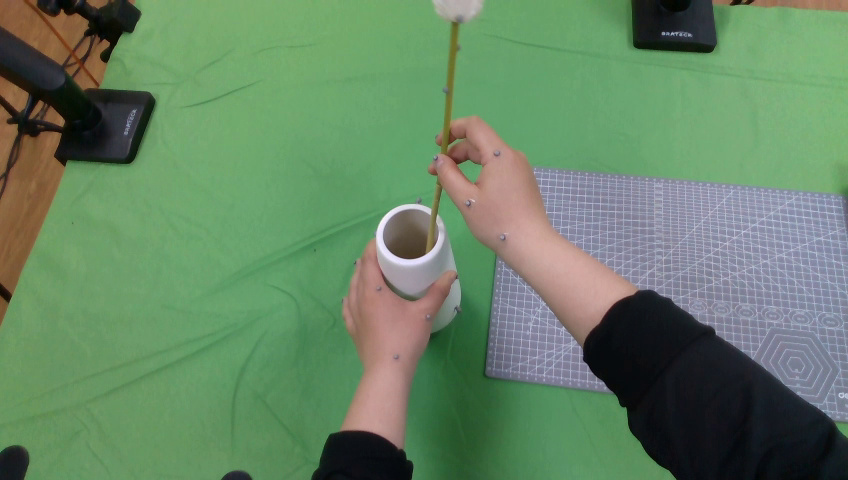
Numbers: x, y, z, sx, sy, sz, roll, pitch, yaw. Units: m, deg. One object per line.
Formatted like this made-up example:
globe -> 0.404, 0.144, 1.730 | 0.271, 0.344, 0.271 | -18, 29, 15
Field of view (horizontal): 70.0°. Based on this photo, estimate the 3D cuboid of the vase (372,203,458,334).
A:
vase -> -0.010, 0.035, 0.677 | 0.098, 0.201, 0.097 | -1, 65, 1

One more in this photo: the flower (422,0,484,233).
flower -> 0.010, -0.077, 0.514 | 0.038, 0.364, 0.044 | 36, 57, 21
